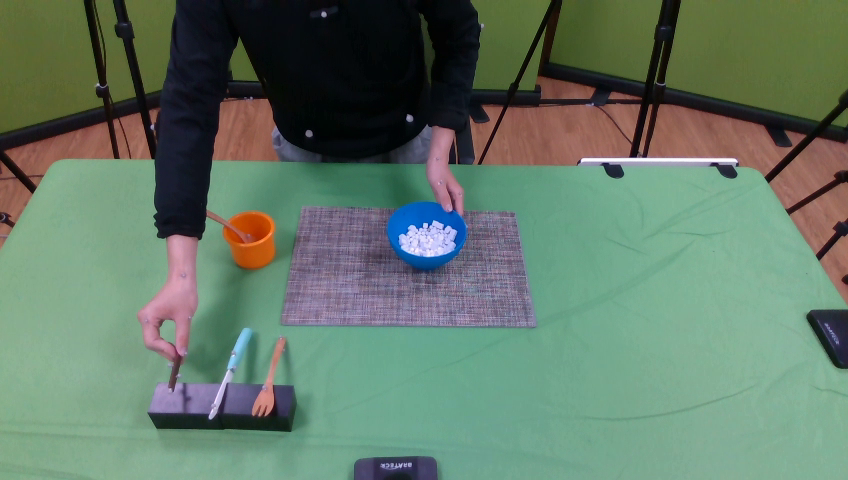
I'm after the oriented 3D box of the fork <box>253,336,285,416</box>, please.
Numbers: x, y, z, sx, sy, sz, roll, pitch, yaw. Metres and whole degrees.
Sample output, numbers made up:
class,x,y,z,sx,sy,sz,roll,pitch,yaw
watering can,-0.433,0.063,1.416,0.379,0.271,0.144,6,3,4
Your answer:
class,x,y,z,sx,sy,sz,roll,pitch,yaw
fork,-0.235,0.206,0.938,0.028,0.019,0.206,-3,26,-3

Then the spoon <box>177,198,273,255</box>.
class,x,y,z,sx,sy,sz,roll,pitch,yaw
spoon,-0.360,-0.026,1.106,0.195,0.021,0.041,38,34,-31

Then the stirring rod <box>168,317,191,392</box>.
class,x,y,z,sx,sy,sz,roll,pitch,yaw
stirring rod,-0.373,0.171,0.929,0.006,0.014,0.175,-17,29,-4

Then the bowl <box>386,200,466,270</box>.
class,x,y,z,sx,sy,sz,roll,pitch,yaw
bowl,0.001,0.003,1.150,0.151,0.077,0.150,2,46,-2

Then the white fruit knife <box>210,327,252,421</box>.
class,x,y,z,sx,sy,sz,roll,pitch,yaw
white fruit knife,-0.298,0.200,0.938,0.016,0.027,0.206,-1,30,0
